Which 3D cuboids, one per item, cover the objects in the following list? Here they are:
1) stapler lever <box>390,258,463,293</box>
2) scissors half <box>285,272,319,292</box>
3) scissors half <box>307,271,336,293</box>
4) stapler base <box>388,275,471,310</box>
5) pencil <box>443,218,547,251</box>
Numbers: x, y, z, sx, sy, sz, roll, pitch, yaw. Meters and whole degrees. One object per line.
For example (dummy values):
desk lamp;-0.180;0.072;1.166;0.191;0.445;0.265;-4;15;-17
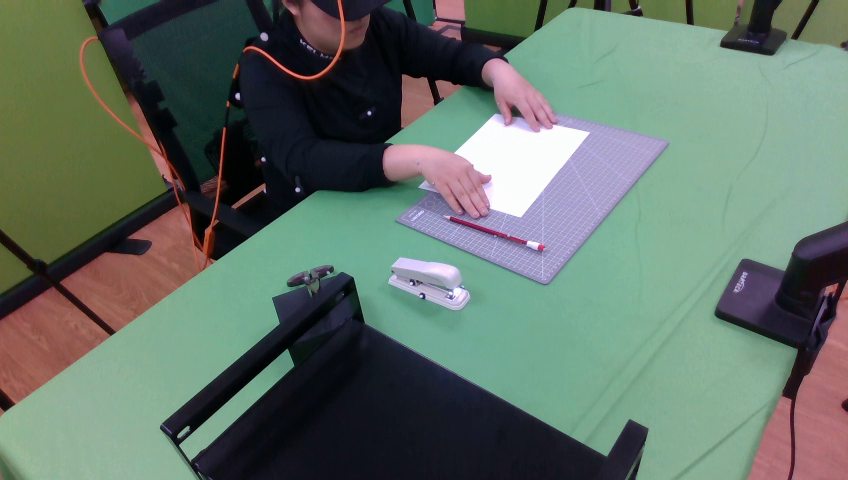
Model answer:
stapler lever;0.003;0.046;0.881;0.117;0.040;0.027;17;44;29
scissors half;-0.171;0.063;0.868;0.040;0.013;0.174;-10;7;-21
scissors half;-0.152;0.061;0.872;0.040;0.013;0.175;-3;6;-4
stapler base;0.007;0.066;0.897;0.129;0.024;0.041;17;43;29
pencil;0.110;-0.012;0.980;0.192;0.012;0.012;18;46;30
